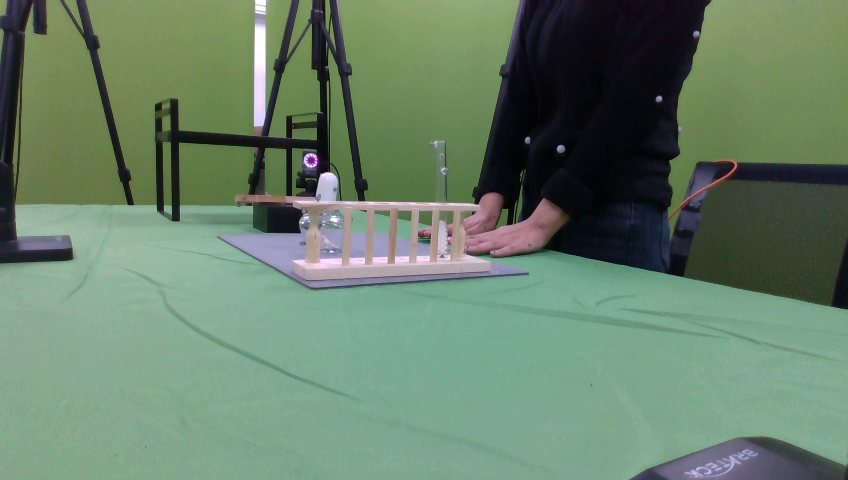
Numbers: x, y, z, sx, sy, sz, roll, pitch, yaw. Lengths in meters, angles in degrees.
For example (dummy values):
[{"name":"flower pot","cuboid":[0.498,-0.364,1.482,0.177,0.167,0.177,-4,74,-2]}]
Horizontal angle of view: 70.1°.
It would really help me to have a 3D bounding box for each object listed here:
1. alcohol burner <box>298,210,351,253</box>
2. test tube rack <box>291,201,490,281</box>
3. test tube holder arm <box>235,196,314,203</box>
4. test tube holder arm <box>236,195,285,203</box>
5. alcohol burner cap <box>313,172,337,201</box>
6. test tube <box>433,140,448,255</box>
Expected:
[{"name":"alcohol burner","cuboid":[-0.146,-0.040,0.894,0.078,0.119,0.078,5,7,0]},{"name":"test tube rack","cuboid":[-0.035,-0.002,0.745,0.243,0.085,0.066,-1,8,-28]},{"name":"test tube holder arm","cuboid":[-0.267,-0.077,1.152,0.179,0.015,0.013,-1,1,-29]},{"name":"test tube holder arm","cuboid":[-0.304,-0.076,1.125,0.088,0.015,0.010,-1,1,-29]},{"name":"alcohol burner cap","cuboid":[-0.144,-0.076,0.888,0.034,0.048,0.034,8,6,-1]},{"name":"test tube","cuboid":[0.022,-0.054,0.784,0.017,0.150,0.017,-1,9,1]}]
